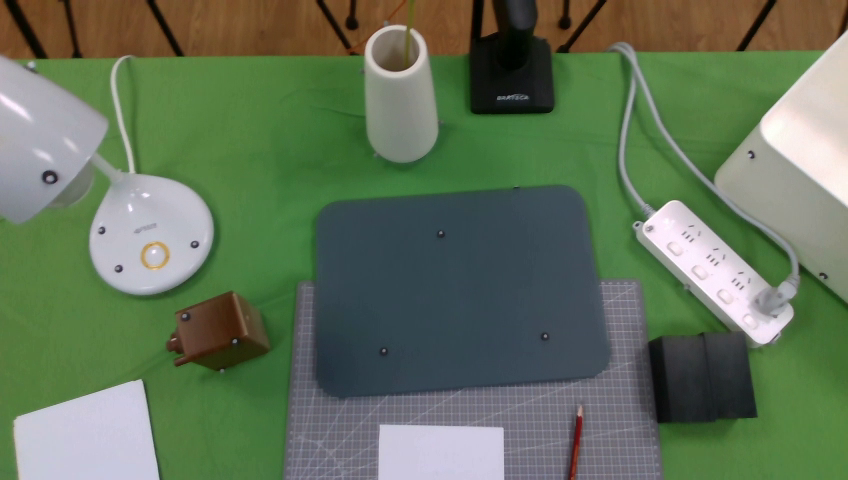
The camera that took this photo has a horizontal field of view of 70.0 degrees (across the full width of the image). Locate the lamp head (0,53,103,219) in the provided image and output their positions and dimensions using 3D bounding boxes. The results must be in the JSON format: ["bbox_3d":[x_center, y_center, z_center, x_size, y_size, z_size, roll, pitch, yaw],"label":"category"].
[{"bbox_3d":[-0.330,-0.095,0.457,0.112,0.124,0.111,-27,38,24],"label":"lamp head"}]

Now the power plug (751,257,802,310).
[{"bbox_3d":[0.440,0.060,0.752,0.072,0.053,0.035,-28,71,-13],"label":"power plug"}]

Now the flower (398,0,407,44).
[{"bbox_3d":[-0.026,-0.224,0.692,0.044,0.364,0.038,-22,61,-23],"label":"flower"}]

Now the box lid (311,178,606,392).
[{"bbox_3d":[0.041,0.052,0.788,0.372,0.015,0.261,-5,72,-1],"label":"box lid"}]

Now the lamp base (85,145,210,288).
[{"bbox_3d":[-0.371,-0.048,0.730,0.160,0.181,0.178,-31,72,-9],"label":"lamp base"}]

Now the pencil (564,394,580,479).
[{"bbox_3d":[0.169,0.279,0.714,0.012,0.012,0.193,12,75,4],"label":"pencil"}]

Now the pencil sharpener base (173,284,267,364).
[{"bbox_3d":[-0.242,0.103,0.721,0.077,0.107,0.061,-21,73,-6],"label":"pencil sharpener base"}]

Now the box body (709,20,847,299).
[{"bbox_3d":[0.582,-0.069,0.749,0.254,0.161,0.362,-43,77,-12],"label":"box body"}]

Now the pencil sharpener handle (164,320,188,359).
[{"bbox_3d":[-0.289,0.120,0.703,0.030,0.068,0.035,-21,61,-6],"label":"pencil sharpener handle"}]

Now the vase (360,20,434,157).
[{"bbox_3d":[-0.035,-0.185,0.766,0.098,0.201,0.097,0,71,-1],"label":"vase"}]

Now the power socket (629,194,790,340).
[{"bbox_3d":[0.369,0.033,0.785,0.072,0.033,0.225,-40,76,-12],"label":"power socket"}]
